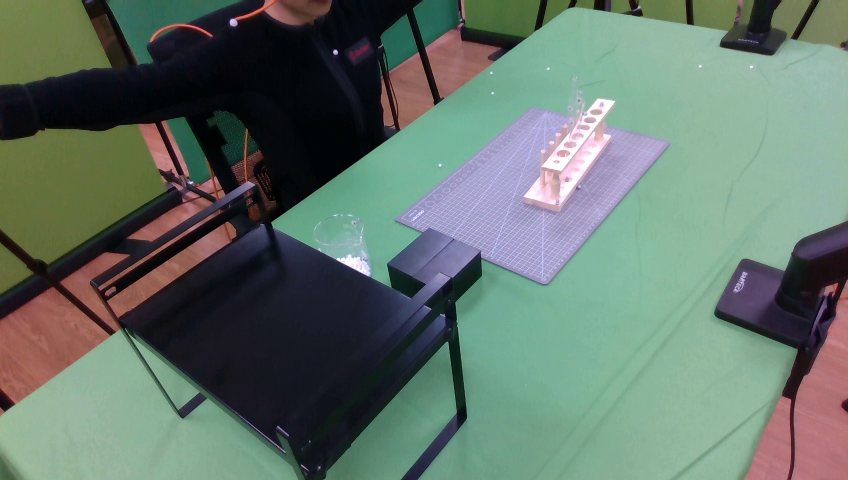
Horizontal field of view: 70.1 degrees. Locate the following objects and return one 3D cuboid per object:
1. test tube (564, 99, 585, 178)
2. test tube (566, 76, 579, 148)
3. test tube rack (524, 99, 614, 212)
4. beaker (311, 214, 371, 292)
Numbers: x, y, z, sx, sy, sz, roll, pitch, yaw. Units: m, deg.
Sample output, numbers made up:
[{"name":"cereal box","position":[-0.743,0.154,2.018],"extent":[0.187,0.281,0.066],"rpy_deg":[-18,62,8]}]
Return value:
[{"name":"test tube","position":[0.248,-0.164,1.001],"extent":[0.017,0.151,0.017],"rpy_deg":[-1,42,1]},{"name":"test tube","position":[0.261,-0.221,1.073],"extent":[0.017,0.151,0.017],"rpy_deg":[-4,41,4]},{"name":"test tube rack","position":[0.259,-0.158,1.069],"extent":[0.066,0.085,0.243],"rpy_deg":[19,47,28]},{"name":"beaker","position":[-0.118,0.022,0.908],"extent":[0.083,0.101,0.074],"rpy_deg":[26,51,32]}]
